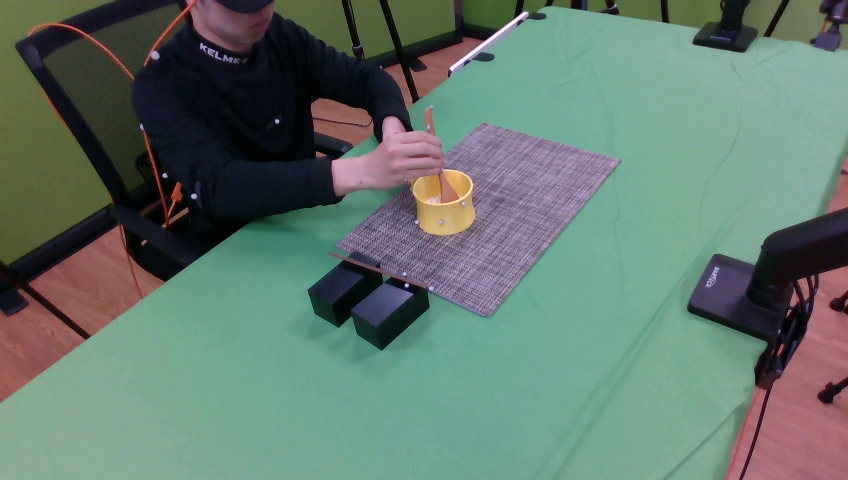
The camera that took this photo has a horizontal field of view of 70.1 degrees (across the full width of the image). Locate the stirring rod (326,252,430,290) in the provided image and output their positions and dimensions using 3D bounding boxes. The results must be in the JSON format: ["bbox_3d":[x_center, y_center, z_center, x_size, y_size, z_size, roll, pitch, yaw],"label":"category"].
[{"bbox_3d":[-0.068,0.043,0.859,0.175,0.006,0.014,17,11,26],"label":"stirring rod"}]

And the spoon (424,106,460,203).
[{"bbox_3d":[0.025,-0.117,0.955,0.042,0.194,0.021,-27,25,-22],"label":"spoon"}]

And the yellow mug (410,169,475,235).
[{"bbox_3d":[0.022,-0.070,1.007,0.129,0.064,0.100,29,52,36],"label":"yellow mug"}]
